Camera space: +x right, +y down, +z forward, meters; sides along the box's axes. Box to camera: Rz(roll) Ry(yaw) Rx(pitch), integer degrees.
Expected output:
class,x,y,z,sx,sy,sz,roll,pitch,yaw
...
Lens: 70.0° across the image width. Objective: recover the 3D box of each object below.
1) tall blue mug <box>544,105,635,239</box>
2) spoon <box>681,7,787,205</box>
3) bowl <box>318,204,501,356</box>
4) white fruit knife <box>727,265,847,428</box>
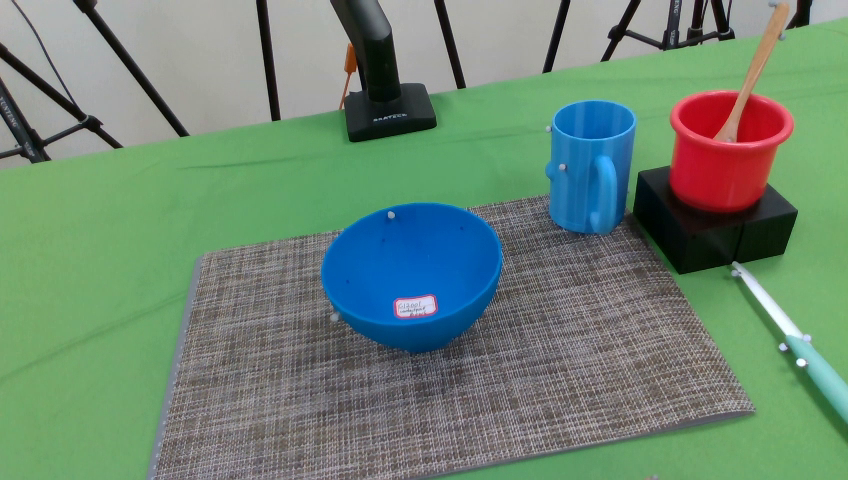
class,x,y,z,sx,sy,sz,roll,pitch,yaw
tall blue mug,0.170,-0.060,0.589,0.078,0.109,0.106,-24,42,-18
spoon,0.284,-0.120,0.543,0.041,0.022,0.194,25,94,35
bowl,-0.008,0.046,0.519,0.151,0.077,0.150,-5,40,4
white fruit knife,0.295,0.086,0.476,0.027,0.016,0.205,12,34,-19
